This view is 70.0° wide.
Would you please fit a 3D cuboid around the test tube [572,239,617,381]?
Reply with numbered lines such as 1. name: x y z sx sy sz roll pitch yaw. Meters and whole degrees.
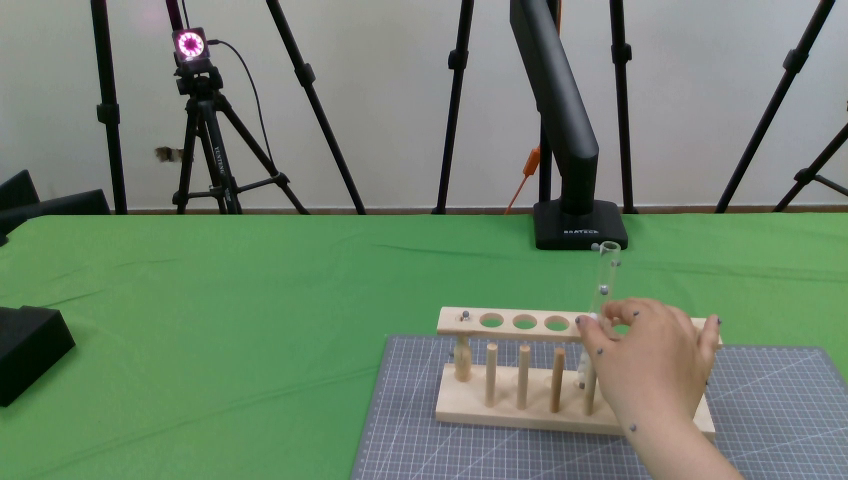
1. test tube: 0.149 0.066 0.534 0.017 0.151 0.017 2 30 -1

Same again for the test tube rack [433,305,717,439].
1. test tube rack: 0.130 0.117 0.549 0.242 0.086 0.066 2 32 9
